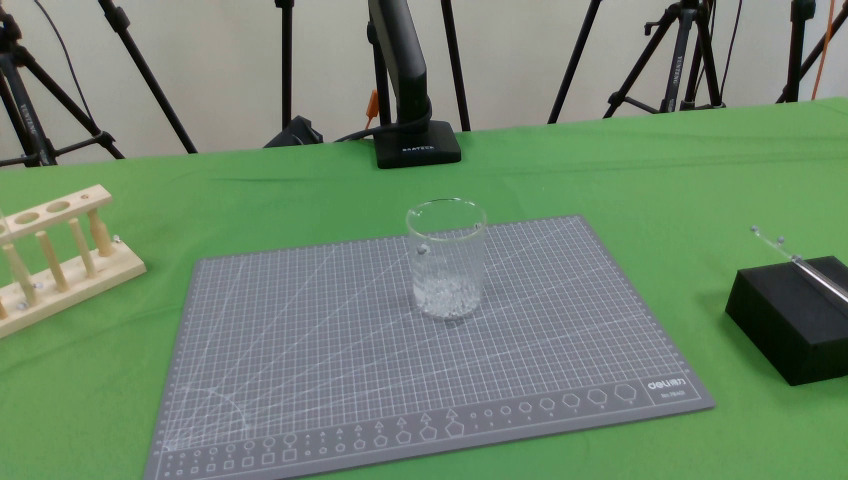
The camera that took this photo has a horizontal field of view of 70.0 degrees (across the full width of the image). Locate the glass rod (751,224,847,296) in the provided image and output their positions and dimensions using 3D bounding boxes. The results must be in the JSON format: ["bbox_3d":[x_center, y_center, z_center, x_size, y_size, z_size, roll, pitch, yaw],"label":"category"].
[{"bbox_3d":[0.362,0.038,0.530,0.008,0.008,0.197,-13,36,-15],"label":"glass rod"}]

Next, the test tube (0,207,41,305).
[{"bbox_3d":[-0.388,-0.001,0.560,0.017,0.151,0.017,0,34,0],"label":"test tube"}]

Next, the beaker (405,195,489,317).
[{"bbox_3d":[0.019,0.016,0.580,0.083,0.101,0.074,26,44,34],"label":"beaker"}]

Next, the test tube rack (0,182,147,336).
[{"bbox_3d":[-0.412,0.035,0.588,0.242,0.086,0.066,-30,44,-34],"label":"test tube rack"}]
